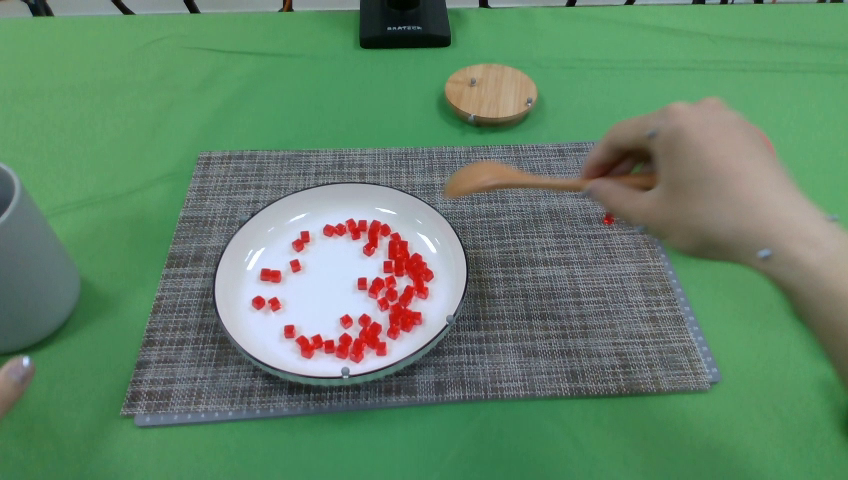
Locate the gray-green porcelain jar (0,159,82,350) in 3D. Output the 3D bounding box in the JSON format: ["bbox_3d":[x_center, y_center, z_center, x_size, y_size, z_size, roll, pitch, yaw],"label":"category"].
[{"bbox_3d":[-0.337,0.015,0.466,0.106,0.127,0.105,1,49,-1],"label":"gray-green porcelain jar"}]

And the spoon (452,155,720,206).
[{"bbox_3d":[0.098,-0.042,0.415,0.192,0.022,0.041,3,66,34],"label":"spoon"}]

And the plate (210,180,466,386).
[{"bbox_3d":[-0.070,0.033,0.511,0.208,0.039,0.205,1,49,-1],"label":"plate"}]

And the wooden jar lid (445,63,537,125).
[{"bbox_3d":[0.078,-0.171,0.711,0.108,0.021,0.107,1,50,-1],"label":"wooden jar lid"}]
